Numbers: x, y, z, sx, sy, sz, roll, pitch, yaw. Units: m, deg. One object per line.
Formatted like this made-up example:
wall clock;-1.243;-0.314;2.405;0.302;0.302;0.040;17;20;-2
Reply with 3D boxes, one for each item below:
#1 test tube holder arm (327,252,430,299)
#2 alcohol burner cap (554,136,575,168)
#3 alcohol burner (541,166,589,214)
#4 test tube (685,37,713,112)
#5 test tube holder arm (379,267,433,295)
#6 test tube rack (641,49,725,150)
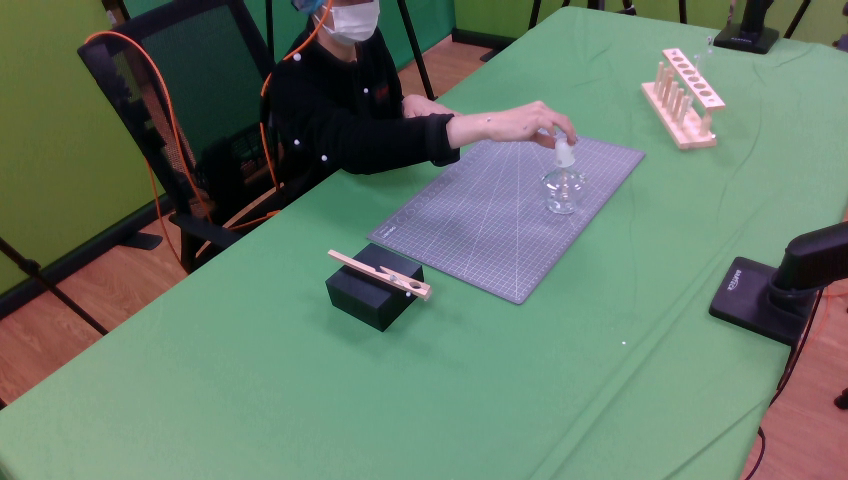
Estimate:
test tube holder arm;-0.068;0.049;0.855;0.177;0.015;0.013;18;54;27
alcohol burner cap;0.220;-0.140;0.947;0.034;0.048;0.033;-7;45;7
alcohol burner;0.229;-0.102;0.983;0.078;0.119;0.077;-6;40;5
test tube;0.509;-0.306;1.128;0.017;0.151;0.017;-1;45;1
test tube holder arm;-0.027;0.057;0.837;0.087;0.015;0.010;18;54;28
test tube rack;0.495;-0.279;1.175;0.067;0.085;0.241;-5;41;3
